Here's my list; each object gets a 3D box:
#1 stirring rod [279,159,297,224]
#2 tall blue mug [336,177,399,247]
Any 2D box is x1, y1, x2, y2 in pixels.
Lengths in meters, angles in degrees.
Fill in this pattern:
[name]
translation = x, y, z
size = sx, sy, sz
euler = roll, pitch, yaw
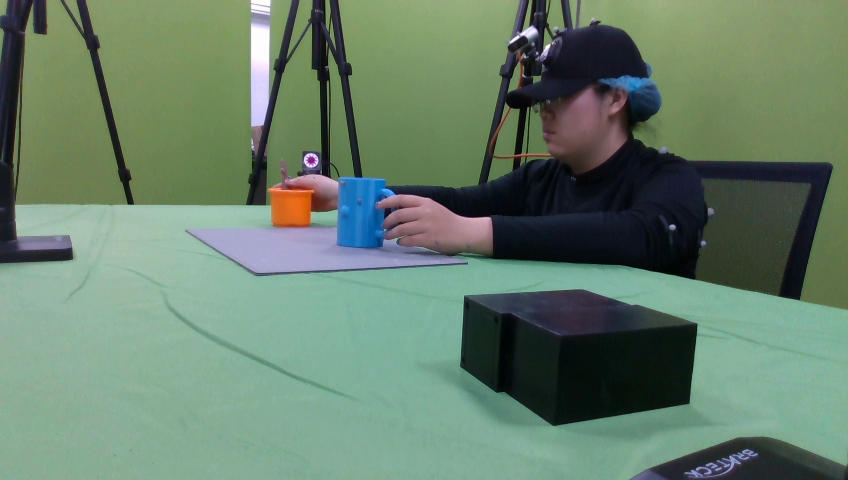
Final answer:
[stirring rod]
translation = -0.279, -0.101, 1.235
size = 0.014, 0.006, 0.175
euler = -8, 54, -15
[tall blue mug]
translation = -0.086, -0.045, 0.970
size = 0.107, 0.108, 0.078
euler = 4, 7, 9
